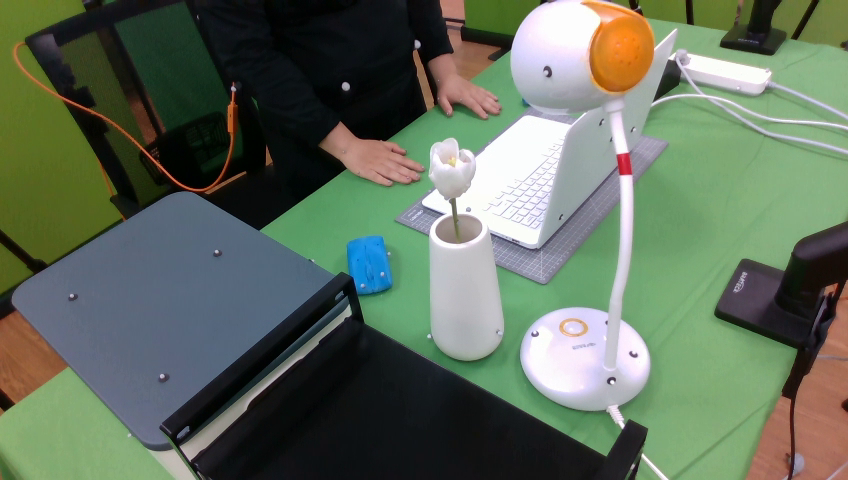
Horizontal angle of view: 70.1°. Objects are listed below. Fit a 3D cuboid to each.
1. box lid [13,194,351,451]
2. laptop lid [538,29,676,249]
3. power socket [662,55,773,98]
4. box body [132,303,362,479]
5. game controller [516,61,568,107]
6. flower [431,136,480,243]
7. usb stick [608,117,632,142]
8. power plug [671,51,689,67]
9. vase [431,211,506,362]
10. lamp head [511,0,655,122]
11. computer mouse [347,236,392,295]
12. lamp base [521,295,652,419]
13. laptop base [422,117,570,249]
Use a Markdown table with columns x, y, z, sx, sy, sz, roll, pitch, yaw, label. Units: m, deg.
| x | y | z | sx | sy | sz | roll | pitch | yaw | label |
| --- | --- | --- | --- | --- | --- | --- | --- | --- | --- |
| -0.292 | 0.067 | 0.717 | 0.368 | 0.015 | 0.264 | 25 | 50 | 33 | box lid |
| 0.288 | -0.159 | 0.939 | 0.013 | 0.242 | 0.358 | 31 | 51 | 24 | laptop lid |
| 0.619 | -0.352 | 1.289 | 0.225 | 0.033 | 0.072 | 26 | 51 | 33 | power socket |
| -0.285 | 0.123 | 0.766 | 0.361 | 0.161 | 0.255 | 25 | 49 | 33 | box body |
| 0.259 | -0.352 | 1.336 | 0.097 | 0.052 | 0.154 | -3 | 41 | 2 | game controller |
| 0.041 | 0.011 | 0.691 | 0.044 | 0.363 | 0.038 | 16 | 62 | 14 | flower |
| 0.370 | -0.207 | 1.147 | 0.021 | 0.027 | 0.059 | 27 | 55 | 32 | usb stick |
| 0.541 | -0.378 | 1.301 | 0.073 | 0.053 | 0.035 | -33 | 46 | -24 | power plug |
| 0.054 | 0.062 | 0.757 | 0.098 | 0.201 | 0.097 | -3 | 40 | 3 | vase |
| 0.155 | -0.168 | 0.564 | 0.113 | 0.113 | 0.122 | -18 | 23 | -12 | lamp head |
| -0.086 | 0.035 | 0.936 | 0.063 | 0.041 | 0.116 | -8 | 44 | -5 | computer mouse |
| 0.200 | 0.095 | 0.710 | 0.161 | 0.181 | 0.177 | -16 | 43 | -10 | lamp base |
| 0.192 | -0.116 | 1.087 | 0.233 | 0.023 | 0.355 | 21 | 48 | 34 | laptop base |
